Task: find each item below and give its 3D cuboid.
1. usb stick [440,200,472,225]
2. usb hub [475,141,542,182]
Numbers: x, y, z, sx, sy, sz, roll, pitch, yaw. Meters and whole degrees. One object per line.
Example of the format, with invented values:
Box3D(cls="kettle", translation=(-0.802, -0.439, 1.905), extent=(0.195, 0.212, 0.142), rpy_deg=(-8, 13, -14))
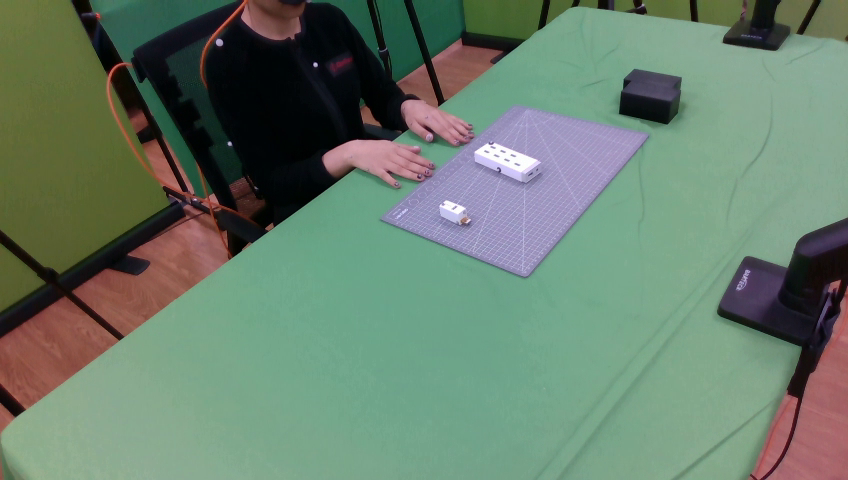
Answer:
Box3D(cls="usb stick", translation=(0.055, -0.044, 1.016), extent=(0.058, 0.027, 0.021), rpy_deg=(29, 52, 33))
Box3D(cls="usb hub", translation=(0.155, -0.146, 1.119), extent=(0.050, 0.025, 0.124), rpy_deg=(-35, 47, -28))
